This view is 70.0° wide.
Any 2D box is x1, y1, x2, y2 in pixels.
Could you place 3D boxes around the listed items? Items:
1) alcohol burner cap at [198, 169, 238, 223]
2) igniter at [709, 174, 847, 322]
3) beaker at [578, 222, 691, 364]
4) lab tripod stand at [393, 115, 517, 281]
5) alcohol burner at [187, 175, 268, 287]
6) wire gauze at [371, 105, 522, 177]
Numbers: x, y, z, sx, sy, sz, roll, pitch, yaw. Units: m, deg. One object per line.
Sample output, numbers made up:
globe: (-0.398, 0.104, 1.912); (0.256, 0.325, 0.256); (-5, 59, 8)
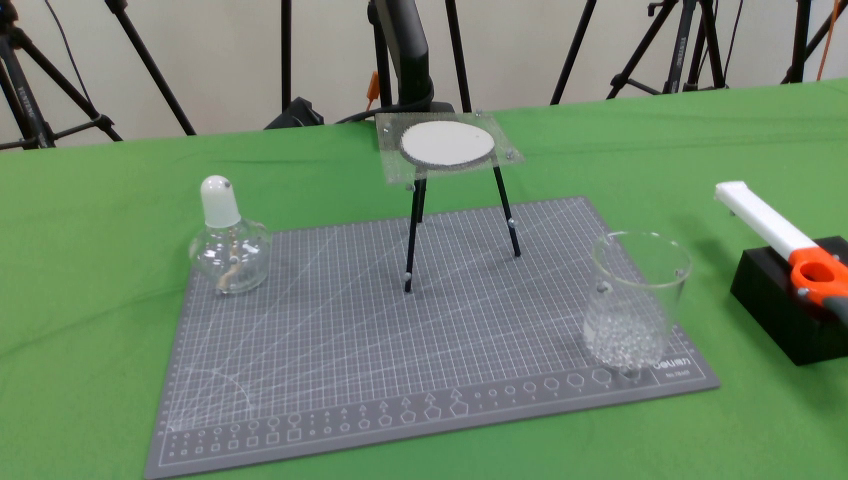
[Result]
alcohol burner cap: (-0.192, -0.043, 0.561); (0.034, 0.048, 0.033); (0, 31, 0)
igniter: (0.331, 0.013, 0.524); (0.057, 0.025, 0.273); (-6, 34, -4)
beaker: (0.167, 0.045, 0.502); (0.074, 0.101, 0.083); (-18, 39, -20)
lab tripod stand: (0.023, -0.046, 0.599); (0.148, 0.132, 0.147); (0, 36, 0)
alcohol burner: (-0.192, -0.014, 0.582); (0.078, 0.120, 0.077); (0, 39, 0)
wire gauze: (0.016, -0.098, 0.555); (0.122, 0.011, 0.123); (-6, 37, -7)
